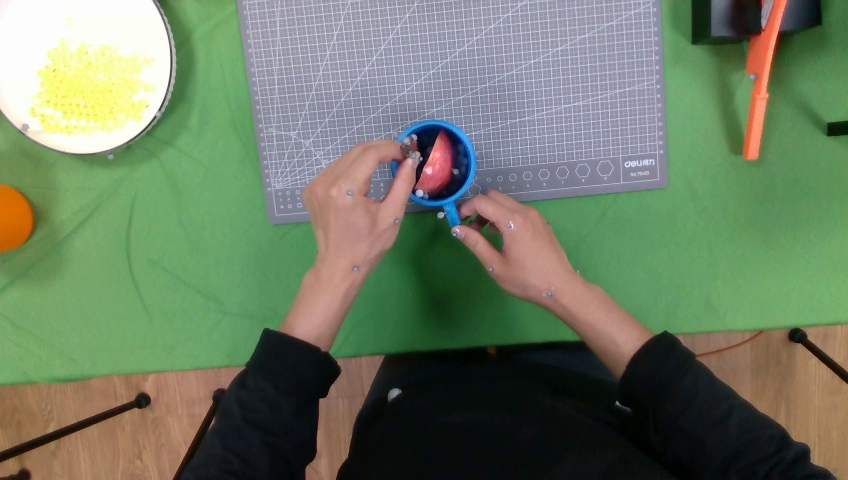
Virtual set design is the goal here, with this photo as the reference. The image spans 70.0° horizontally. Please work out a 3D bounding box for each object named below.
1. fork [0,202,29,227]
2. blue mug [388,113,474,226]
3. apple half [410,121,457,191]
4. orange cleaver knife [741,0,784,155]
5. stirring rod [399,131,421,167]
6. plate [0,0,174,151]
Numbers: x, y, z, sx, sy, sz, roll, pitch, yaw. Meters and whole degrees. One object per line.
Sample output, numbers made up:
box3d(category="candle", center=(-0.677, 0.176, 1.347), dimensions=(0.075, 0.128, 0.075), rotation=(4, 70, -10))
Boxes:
box3d(category="fork", center=(-0.529, -0.034, 0.620), dimensions=(0.209, 0.018, 0.028), rotation=(5, 99, -44))
box3d(category="blue mug", center=(0.014, -0.070, 0.626), dimensions=(0.082, 0.105, 0.117), rotation=(-20, 98, 4))
box3d(category="apple half", center=(0.017, -0.081, 0.615), dimensions=(0.032, 0.081, 0.081), rotation=(24, 98, 7))
box3d(category="orange cleaver knife", center=(0.341, -0.192, 0.616), dimensions=(0.012, 0.076, 0.213), rotation=(-2, 125, 10))
box3d(category="stirring rod", center=(-0.011, -0.083, 0.568), dimensions=(0.006, 0.176, 0.014), rotation=(40, 92, 1))
box3d(category="plate", center=(-0.367, -0.201, 0.648), dimensions=(0.209, 0.038, 0.209), rotation=(0, 99, 1))
